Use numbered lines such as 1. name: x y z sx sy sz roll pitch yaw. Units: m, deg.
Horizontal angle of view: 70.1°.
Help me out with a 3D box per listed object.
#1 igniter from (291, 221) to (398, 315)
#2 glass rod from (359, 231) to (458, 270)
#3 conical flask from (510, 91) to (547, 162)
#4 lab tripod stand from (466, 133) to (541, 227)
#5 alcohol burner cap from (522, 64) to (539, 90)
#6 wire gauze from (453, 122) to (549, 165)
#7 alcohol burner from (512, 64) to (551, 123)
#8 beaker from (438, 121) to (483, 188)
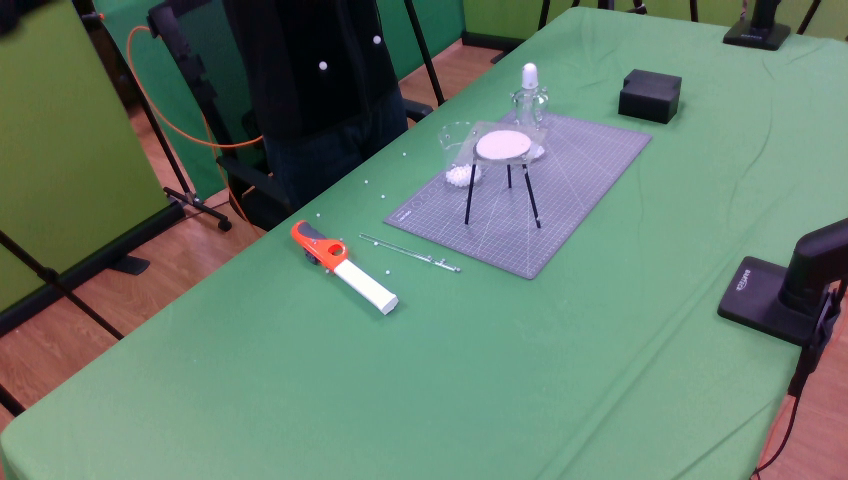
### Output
1. igniter: -0.136 0.037 0.962 0.057 0.025 0.274 -41 48 -18
2. glass rod: -0.029 0.016 0.982 0.198 0.008 0.008 20 49 30
3. conical flask: 0.189 -0.212 1.116 0.075 0.122 0.075 -6 40 5
4. lab tripod stand: 0.130 -0.099 0.985 0.148 0.132 0.147 -6 38 6
5. alcohol burner cap: 0.210 -0.325 1.195 0.034 0.048 0.033 -6 46 7
6. wire gauze: 0.121 -0.150 0.942 0.121 0.011 0.125 8 42 21
7. alcohol burner: 0.215 -0.298 1.220 0.078 0.120 0.077 -7 40 7
8. beaker: 0.066 -0.149 1.084 0.073 0.101 0.084 20 49 31
